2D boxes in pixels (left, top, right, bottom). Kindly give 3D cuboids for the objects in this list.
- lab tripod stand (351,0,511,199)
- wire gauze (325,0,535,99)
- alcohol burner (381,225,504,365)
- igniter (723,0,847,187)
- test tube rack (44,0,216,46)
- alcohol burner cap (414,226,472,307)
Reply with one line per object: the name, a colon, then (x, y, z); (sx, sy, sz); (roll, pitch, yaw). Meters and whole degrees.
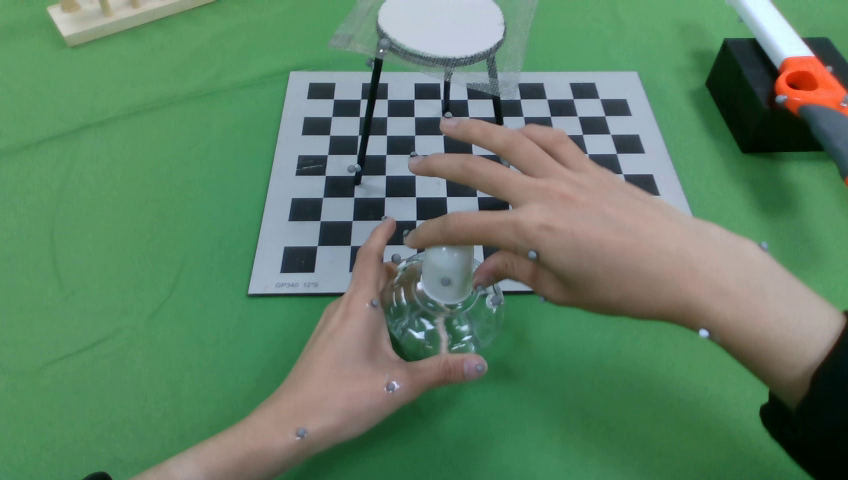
lab tripod stand: (0.013, -0.107, 0.464); (0.148, 0.132, 0.147); (2, 51, -2)
wire gauze: (0.011, -0.147, 0.409); (0.125, 0.011, 0.120); (14, 52, 8)
alcohol burner: (0.011, 0.031, 0.370); (0.078, 0.120, 0.077); (0, 58, 0)
igniter: (0.315, -0.142, 0.511); (0.057, 0.025, 0.273); (-2, 50, 1)
test tube rack: (-0.279, -0.295, 0.639); (0.242, 0.086, 0.066); (-28, 58, -22)
alcohol burner cap: (0.012, 0.013, 0.345); (0.034, 0.048, 0.033); (2, 51, -3)
